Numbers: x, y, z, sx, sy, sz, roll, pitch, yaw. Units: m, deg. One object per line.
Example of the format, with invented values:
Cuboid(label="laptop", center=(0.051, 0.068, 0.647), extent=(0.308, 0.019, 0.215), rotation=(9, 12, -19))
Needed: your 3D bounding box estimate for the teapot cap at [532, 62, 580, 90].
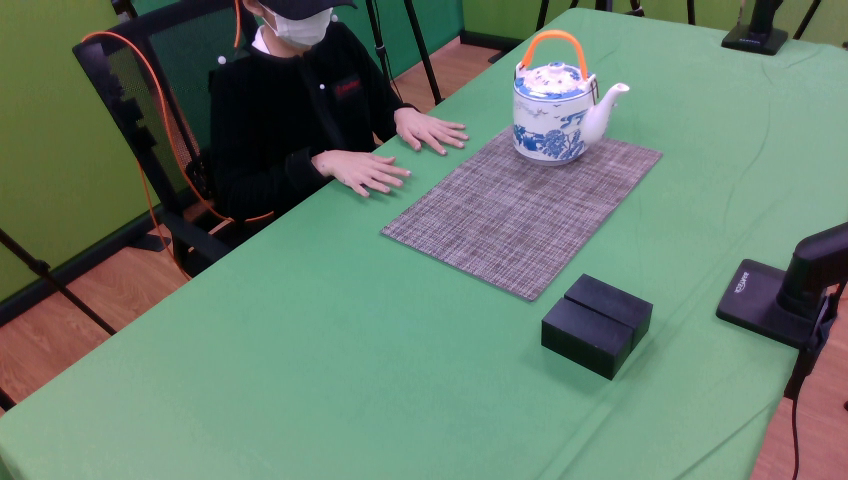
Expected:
Cuboid(label="teapot cap", center=(0.230, -0.286, 1.053), extent=(0.085, 0.044, 0.085), rotation=(-4, 39, 4))

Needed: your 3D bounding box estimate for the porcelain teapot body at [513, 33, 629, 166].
Cuboid(label="porcelain teapot body", center=(0.256, -0.248, 1.065), extent=(0.204, 0.226, 0.145), rotation=(19, 47, 28))
